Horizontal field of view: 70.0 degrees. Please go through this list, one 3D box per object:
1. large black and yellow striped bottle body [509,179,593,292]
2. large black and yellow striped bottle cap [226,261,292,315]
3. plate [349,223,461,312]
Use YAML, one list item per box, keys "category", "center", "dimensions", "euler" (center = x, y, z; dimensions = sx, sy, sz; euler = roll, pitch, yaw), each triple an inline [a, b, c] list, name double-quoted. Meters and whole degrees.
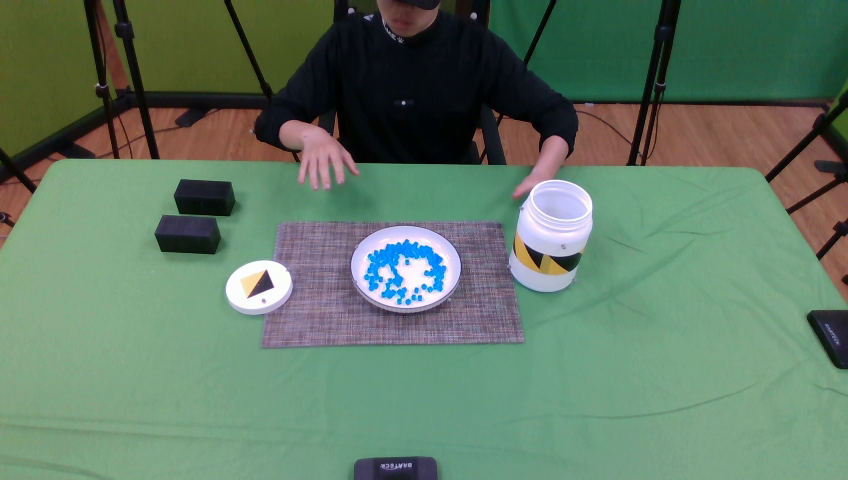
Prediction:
- category: "large black and yellow striped bottle body"
  center: [0.232, -0.008, 1.108]
  dimensions: [0.131, 0.185, 0.130]
  euler: [2, 46, -2]
- category: "large black and yellow striped bottle cap"
  center: [-0.298, 0.085, 1.092]
  dimensions: [0.115, 0.019, 0.114]
  euler: [0, 45, 1]
- category: "plate"
  center: [-0.035, 0.054, 1.126]
  dimensions: [0.208, 0.039, 0.206]
  euler: [2, 46, -2]
